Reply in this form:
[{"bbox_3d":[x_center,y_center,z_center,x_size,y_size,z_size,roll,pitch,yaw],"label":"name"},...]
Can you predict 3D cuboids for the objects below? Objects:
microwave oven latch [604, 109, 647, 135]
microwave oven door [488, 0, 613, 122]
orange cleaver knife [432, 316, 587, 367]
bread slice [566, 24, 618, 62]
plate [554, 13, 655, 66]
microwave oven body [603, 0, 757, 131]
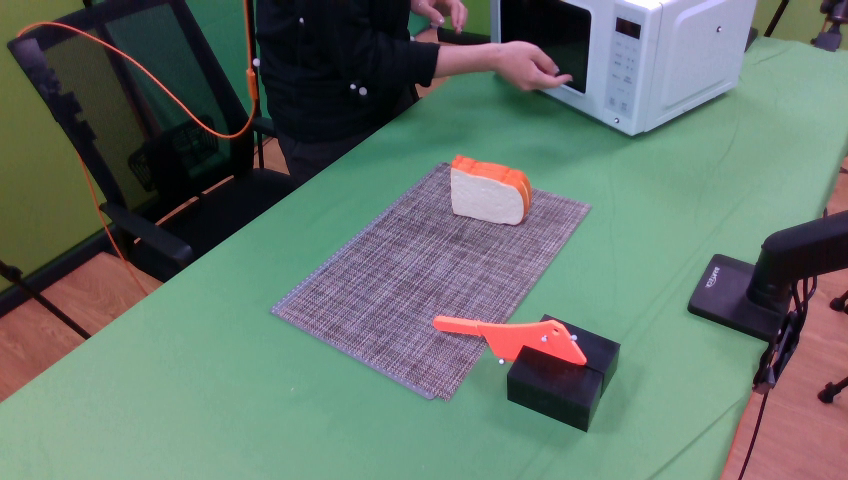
[{"bbox_3d":[0.378,-0.225,1.139,0.030,0.029,0.078,-26,43,-20],"label":"microwave oven latch"},{"bbox_3d":[0.250,-0.412,1.219,0.039,0.245,0.352,-27,44,-21],"label":"microwave oven door"},{"bbox_3d":[0.101,0.127,0.761,0.210,0.077,0.012,-1,34,40],"label":"orange cleaver knife"},{"bbox_3d":[0.363,-0.431,1.319,0.107,0.018,0.134,1,49,9],"label":"bread slice"},{"bbox_3d":[0.386,-0.427,1.306,0.207,0.039,0.206,-4,44,5],"label":"plate"},{"bbox_3d":[0.396,-0.448,1.248,0.327,0.261,0.437,-27,44,-21],"label":"microwave oven body"}]
